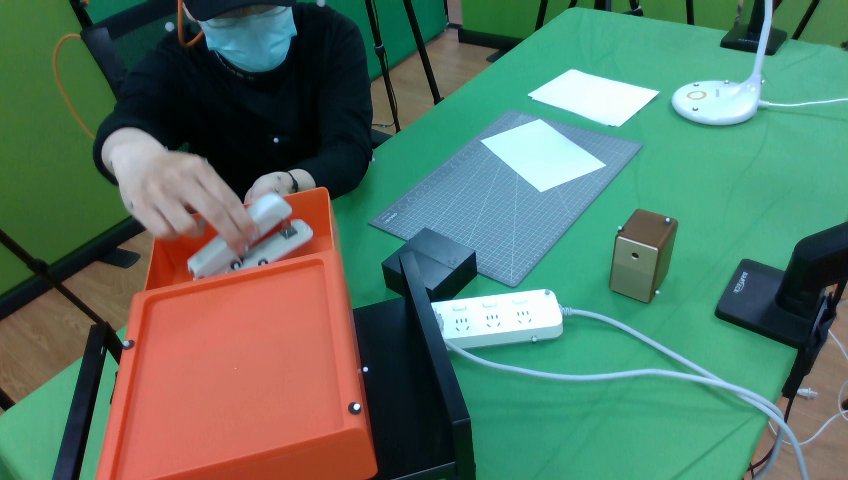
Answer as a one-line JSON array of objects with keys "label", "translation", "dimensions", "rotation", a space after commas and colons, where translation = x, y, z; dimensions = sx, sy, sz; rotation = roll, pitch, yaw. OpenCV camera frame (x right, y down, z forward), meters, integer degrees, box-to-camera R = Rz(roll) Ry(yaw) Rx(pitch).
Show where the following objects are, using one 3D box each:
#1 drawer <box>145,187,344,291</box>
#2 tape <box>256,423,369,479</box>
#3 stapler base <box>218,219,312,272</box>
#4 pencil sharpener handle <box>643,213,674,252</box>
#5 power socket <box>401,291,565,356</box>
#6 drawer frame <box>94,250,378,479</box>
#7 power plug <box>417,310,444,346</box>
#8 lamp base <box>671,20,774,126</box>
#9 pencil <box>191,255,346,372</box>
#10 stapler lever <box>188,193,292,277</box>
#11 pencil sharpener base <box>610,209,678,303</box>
[{"label": "drawer", "translation": [-0.181, 0.048, 0.624], "dimensions": [0.195, 0.073, 0.210], "rotation": [-12, 41, -6]}, {"label": "tape", "translation": [-0.121, 0.263, 0.660], "dimensions": [0.117, 0.053, 0.116], "rotation": [-5, 39, 4]}, {"label": "stapler base", "translation": [-0.181, 0.013, 0.631], "dimensions": [0.131, 0.024, 0.041], "rotation": [-36, 41, -19]}, {"label": "pencil sharpener handle", "translation": [0.337, -0.016, 0.857], "dimensions": [0.035, 0.068, 0.031], "rotation": [1, 35, 44]}, {"label": "power socket", "translation": [0.080, 0.112, 0.822], "dimensions": [0.227, 0.033, 0.072], "rotation": [-6, 41, 0]}, {"label": "drawer frame", "translation": [-0.156, 0.119, 0.532], "dimensions": [0.202, 0.083, 0.212], "rotation": [-12, 41, -7]}, {"label": "power plug", "translation": [0.006, 0.122, 0.785], "dimensions": [0.035, 0.053, 0.072], "rotation": [1, 40, 9]}, {"label": "lamp base", "translation": [0.581, -0.332, 1.154], "dimensions": [0.179, 0.181, 0.160], "rotation": [2, 41, 7]}, {"label": "pencil", "translation": [-0.153, 0.070, 0.623], "dimensions": [0.012, 0.012, 0.194], "rotation": [29, 54, 35]}, {"label": "stapler lever", "translation": [-0.188, -0.005, 0.614], "dimensions": [0.118, 0.040, 0.026], "rotation": [-35, 41, -19]}, {"label": "pencil sharpener base", "translation": [0.304, 0.021, 0.839], "dimensions": [0.061, 0.107, 0.077], "rotation": [21, 48, 30]}]
